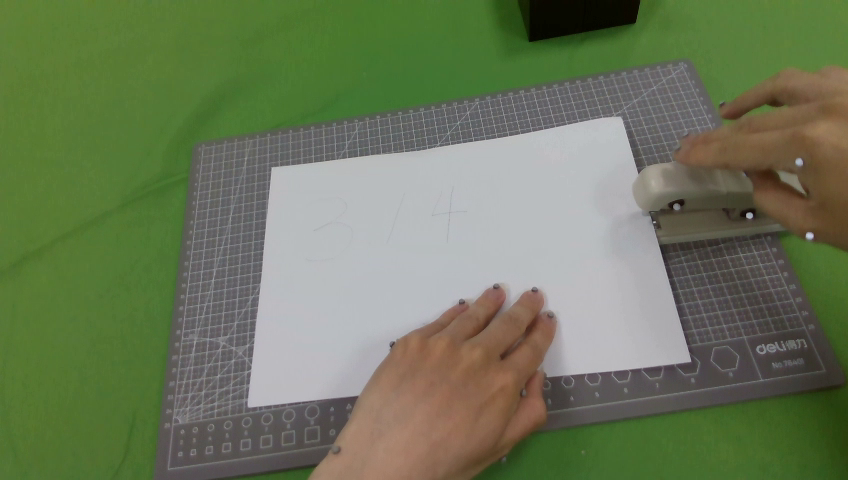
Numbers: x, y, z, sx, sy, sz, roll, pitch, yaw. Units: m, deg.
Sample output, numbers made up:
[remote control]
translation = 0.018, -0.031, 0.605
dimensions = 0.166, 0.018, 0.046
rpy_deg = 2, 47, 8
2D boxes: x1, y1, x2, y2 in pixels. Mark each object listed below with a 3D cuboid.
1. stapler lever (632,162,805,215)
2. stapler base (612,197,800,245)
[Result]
[stapler lever]
translation = 0.205, -0.038, 0.420
dimensions = 0.118, 0.040, 0.026
rpy_deg = -6, 60, 2
[stapler base]
translation = 0.206, -0.024, 0.441
dimensions = 0.130, 0.024, 0.041
rpy_deg = -6, 60, 2
